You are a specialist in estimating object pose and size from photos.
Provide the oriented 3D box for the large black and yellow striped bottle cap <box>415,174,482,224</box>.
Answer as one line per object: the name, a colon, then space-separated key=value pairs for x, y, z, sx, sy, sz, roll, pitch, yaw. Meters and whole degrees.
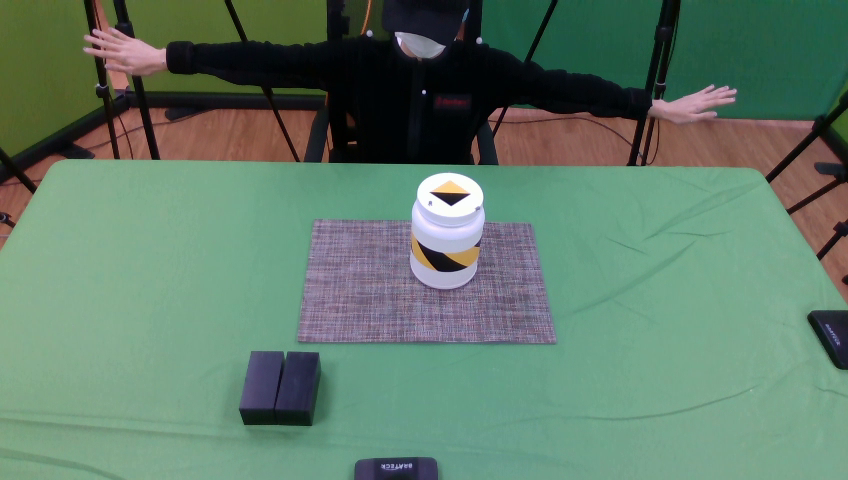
large black and yellow striped bottle cap: x=0.042 y=-0.072 z=1.036 sx=0.115 sy=0.019 sz=0.114 roll=3 pitch=44 yaw=-3

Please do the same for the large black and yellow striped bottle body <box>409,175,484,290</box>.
large black and yellow striped bottle body: x=0.039 y=-0.013 z=1.096 sx=0.131 sy=0.185 sz=0.130 roll=2 pitch=46 yaw=-2
